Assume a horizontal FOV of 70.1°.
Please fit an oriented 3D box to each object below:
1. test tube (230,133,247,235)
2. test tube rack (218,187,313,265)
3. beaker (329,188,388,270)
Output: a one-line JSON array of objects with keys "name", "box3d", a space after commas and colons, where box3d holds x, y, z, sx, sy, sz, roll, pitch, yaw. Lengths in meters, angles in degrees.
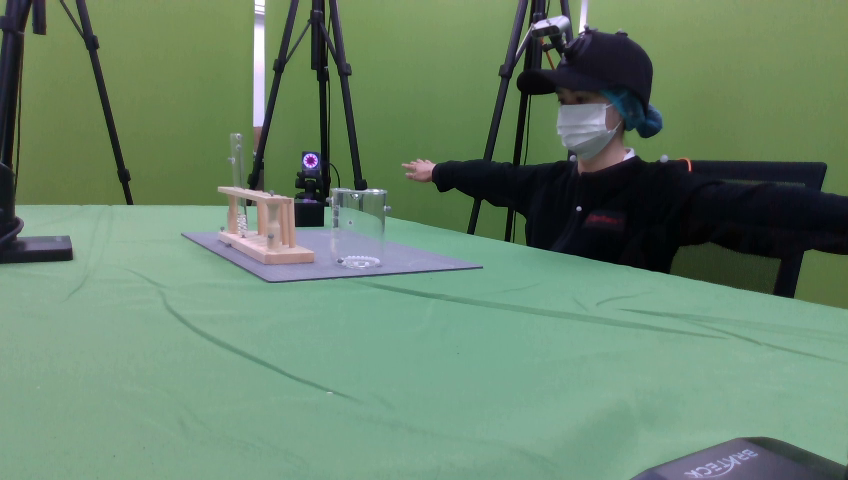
[{"name": "test tube", "box3d": [-0.273, -0.081, 0.892, 0.017, 0.150, 0.017, -1, 9, 0]}, {"name": "test tube rack", "box3d": [-0.235, -0.027, 0.872, 0.067, 0.085, 0.241, -2, 8, -32]}, {"name": "beaker", "box3d": [-0.087, -0.016, 0.786, 0.074, 0.100, 0.083, 1, 7, -13]}]
